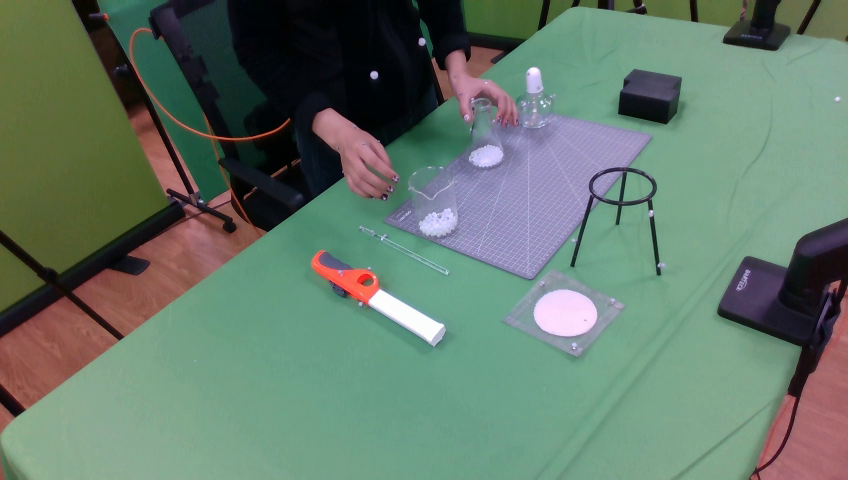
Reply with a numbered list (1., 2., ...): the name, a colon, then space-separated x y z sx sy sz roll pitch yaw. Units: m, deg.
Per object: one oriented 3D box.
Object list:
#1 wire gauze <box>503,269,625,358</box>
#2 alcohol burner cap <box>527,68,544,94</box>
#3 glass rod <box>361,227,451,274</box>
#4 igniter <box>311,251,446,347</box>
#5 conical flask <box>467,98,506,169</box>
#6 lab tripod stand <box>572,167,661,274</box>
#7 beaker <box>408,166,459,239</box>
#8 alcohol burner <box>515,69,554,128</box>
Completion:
1. wire gauze: 0.194 0.100 0.840 0.120 0.011 0.125 27 54 36
2. alcohol burner cap: 0.216 -0.312 1.179 0.034 0.048 0.033 -9 40 9
3. glass rod: -0.033 0.014 0.985 0.198 0.008 0.008 25 52 34
4. igniter: -0.078 0.081 0.899 0.274 0.025 0.057 27 62 35
5. conical flask: 0.111 -0.199 1.116 0.075 0.122 0.075 -6 40 5
6. lab tripod stand: 0.283 -0.030 0.879 0.148 0.132 0.147 -7 38 6
7. beaker: 0.018 -0.057 0.984 0.074 0.101 0.083 -6 41 6
8. alcohol burner: 0.221 -0.285 1.203 0.078 0.119 0.077 -4 39 4
